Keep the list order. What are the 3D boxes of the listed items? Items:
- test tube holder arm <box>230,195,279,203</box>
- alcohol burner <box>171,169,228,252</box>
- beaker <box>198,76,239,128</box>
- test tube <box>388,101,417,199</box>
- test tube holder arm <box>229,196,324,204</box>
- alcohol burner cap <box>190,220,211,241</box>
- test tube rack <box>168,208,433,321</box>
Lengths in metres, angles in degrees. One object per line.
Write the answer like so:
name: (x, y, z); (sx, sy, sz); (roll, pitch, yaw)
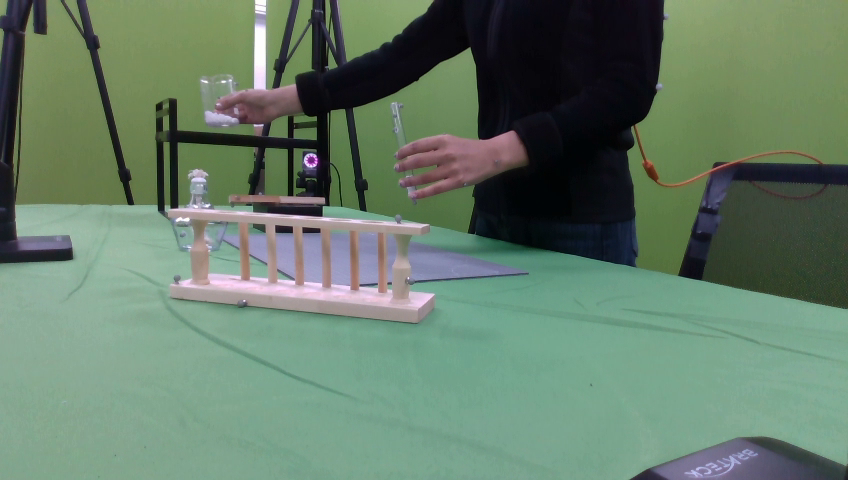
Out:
test tube holder arm: (-0.311, -0.076, 1.113); (0.088, 0.015, 0.010); (-2, -4, -30)
alcohol burner: (-0.325, -0.043, 0.875); (0.078, 0.119, 0.078); (0, 7, 0)
beaker: (-0.431, -0.289, 1.273); (0.074, 0.100, 0.084); (-6, 6, -4)
test tube: (-0.033, -0.135, 0.913); (0.017, 0.150, 0.017); (-12, 2, 1)
test tube holder arm: (-0.274, -0.076, 1.141); (0.179, 0.015, 0.013); (-2, -4, -30)
alcohol burner cap: (-0.365, -0.023, 0.988); (0.034, 0.048, 0.034); (2, 7, 0)
test tube rack: (-0.115, 0.017, 0.574); (0.242, 0.085, 0.067); (4, 8, 13)
